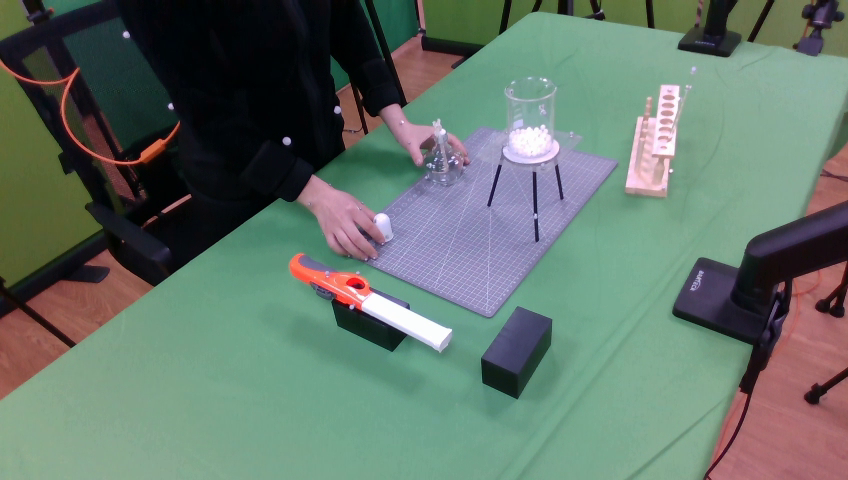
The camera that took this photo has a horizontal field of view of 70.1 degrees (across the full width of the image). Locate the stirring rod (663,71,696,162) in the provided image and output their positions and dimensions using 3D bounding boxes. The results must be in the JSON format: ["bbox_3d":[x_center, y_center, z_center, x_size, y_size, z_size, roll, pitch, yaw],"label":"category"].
[{"bbox_3d":[0.410,-0.195,0.981,0.014,0.177,0.006,11,50,13],"label":"stirring rod"}]

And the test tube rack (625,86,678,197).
[{"bbox_3d":[0.412,-0.184,1.088,0.066,0.085,0.242,9,43,18],"label":"test tube rack"}]

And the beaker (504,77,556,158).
[{"bbox_3d":[0.160,-0.181,0.900,0.084,0.101,0.073,-32,46,-27],"label":"beaker"}]

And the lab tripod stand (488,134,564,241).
[{"bbox_3d":[0.168,-0.092,0.972,0.148,0.132,0.147,-5,41,5],"label":"lab tripod stand"}]

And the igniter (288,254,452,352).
[{"bbox_3d":[-0.084,0.079,0.818,0.274,0.025,0.057,23,46,27],"label":"igniter"}]

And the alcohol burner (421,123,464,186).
[{"bbox_3d":[0.032,-0.158,1.083,0.078,0.119,0.077,-4,42,4],"label":"alcohol burner"}]

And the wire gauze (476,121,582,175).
[{"bbox_3d":[0.162,-0.142,0.929,0.120,0.011,0.125,19,49,32],"label":"wire gauze"}]

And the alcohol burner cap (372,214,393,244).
[{"bbox_3d":[-0.069,-0.021,0.989,0.034,0.048,0.033,-3,37,3],"label":"alcohol burner cap"}]
